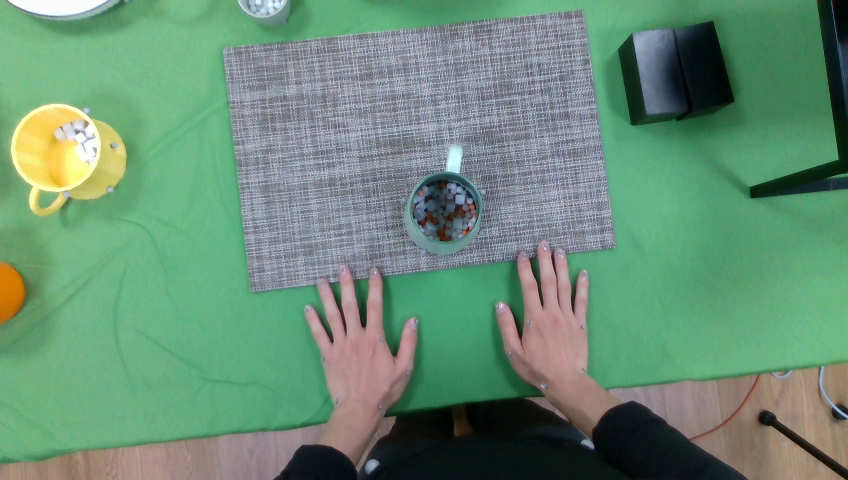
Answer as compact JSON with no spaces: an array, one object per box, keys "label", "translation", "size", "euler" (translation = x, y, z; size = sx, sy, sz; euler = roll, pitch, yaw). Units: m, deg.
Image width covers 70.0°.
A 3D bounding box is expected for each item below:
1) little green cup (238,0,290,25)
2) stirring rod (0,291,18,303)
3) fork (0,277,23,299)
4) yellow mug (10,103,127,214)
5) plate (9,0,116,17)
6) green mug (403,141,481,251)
[{"label":"little green cup","translation":[-0.193,-0.293,0.736],"size":[0.061,0.038,0.061],"euler":[0,88,-2]},{"label":"stirring rod","translation":[-0.545,0.061,0.656],"size":[0.177,0.006,0.014],"euler":[5,75,-41]},{"label":"fork","translation":[-0.556,0.044,0.653],"size":[0.209,0.018,0.028],"euler":[13,81,-44]},{"label":"yellow mug","translation":[-0.419,-0.089,0.706],"size":[0.100,0.064,0.130],"euler":[26,88,0]},{"label":"plate","translation":[-0.434,-0.369,0.734],"size":[0.208,0.039,0.207],"euler":[0,88,-2]},{"label":"green mug","translation":[0.024,-0.051,0.694],"size":[0.092,0.105,0.125],"euler":[10,87,0]}]
